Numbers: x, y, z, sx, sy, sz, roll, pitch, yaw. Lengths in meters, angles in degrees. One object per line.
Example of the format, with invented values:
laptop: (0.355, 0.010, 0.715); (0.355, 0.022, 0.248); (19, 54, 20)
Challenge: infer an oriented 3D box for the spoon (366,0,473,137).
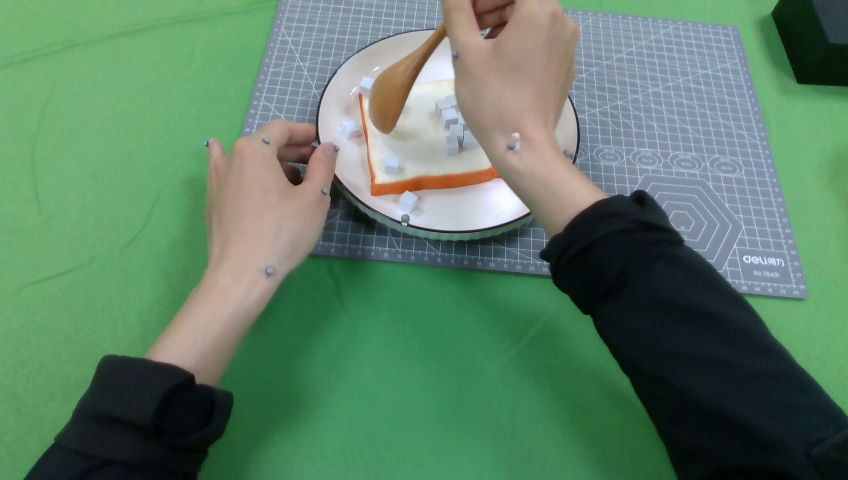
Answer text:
spoon: (0.009, -0.143, 0.411); (0.022, 0.194, 0.041); (1, 54, -44)

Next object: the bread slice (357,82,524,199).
bread slice: (0.014, -0.088, 0.494); (0.132, 0.019, 0.104); (-8, 62, -8)

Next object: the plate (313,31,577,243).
plate: (0.017, -0.084, 0.489); (0.209, 0.038, 0.207); (2, 60, -3)
